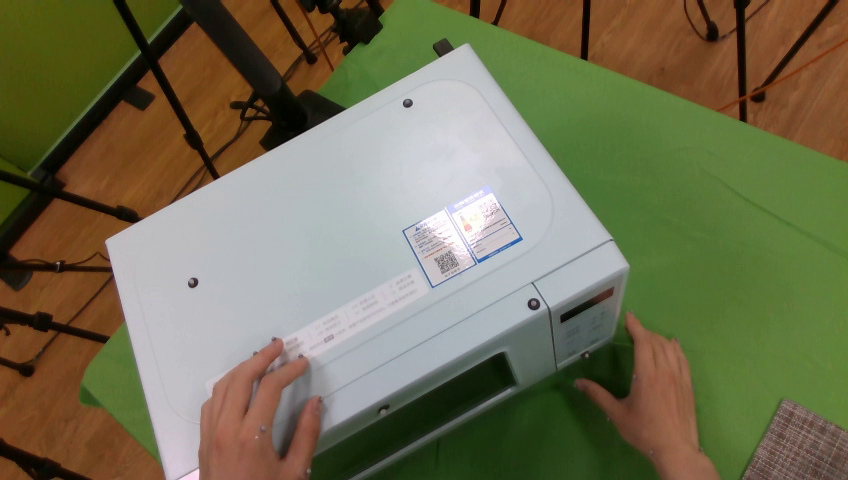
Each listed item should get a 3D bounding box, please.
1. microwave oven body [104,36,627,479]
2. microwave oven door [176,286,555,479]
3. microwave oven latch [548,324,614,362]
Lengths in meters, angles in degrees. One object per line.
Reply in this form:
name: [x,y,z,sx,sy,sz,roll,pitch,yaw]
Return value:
microwave oven body: [-0.059,0.044,0.683,0.442,0.262,0.323,-29,64,0]
microwave oven door: [-0.034,0.175,0.614,0.356,0.246,0.039,-29,62,-1]
microwave oven latch: [0.181,0.111,0.706,0.079,0.030,0.030,-27,64,1]
